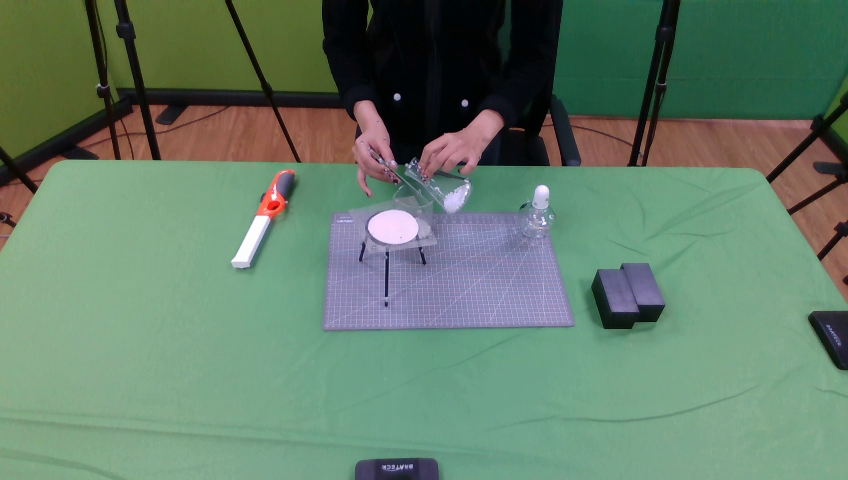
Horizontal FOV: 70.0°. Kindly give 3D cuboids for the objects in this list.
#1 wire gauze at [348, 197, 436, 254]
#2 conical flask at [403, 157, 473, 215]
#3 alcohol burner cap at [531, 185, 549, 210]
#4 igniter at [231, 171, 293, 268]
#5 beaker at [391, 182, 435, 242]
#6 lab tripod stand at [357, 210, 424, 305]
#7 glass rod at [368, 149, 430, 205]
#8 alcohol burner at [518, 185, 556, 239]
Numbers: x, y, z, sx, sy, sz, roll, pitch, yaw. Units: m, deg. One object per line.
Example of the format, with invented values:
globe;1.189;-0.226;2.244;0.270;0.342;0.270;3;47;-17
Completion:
wire gauze;-0.056;-0.026;1.045;0.125;0.011;0.120;-12;47;-17
conical flask;0.022;-0.106;1.114;0.122;0.075;0.075;32;47;-9
alcohol burner cap;0.228;-0.085;1.183;0.034;0.048;0.033;-1;48;2
igniter;-0.321;-0.051;1.220;0.057;0.025;0.275;1;45;11
beaker;-0.023;-0.053;1.192;0.084;0.101;0.073;-2;46;-6
lab tripod stand;-0.060;0.020;1.094;0.148;0.132;0.147;3;44;-2
glass rod;-0.042;-0.113;1.118;0.008;0.201;0.008;-17;56;27
alcohol burner;0.227;-0.061;1.209;0.078;0.120;0.077;1;44;-1
